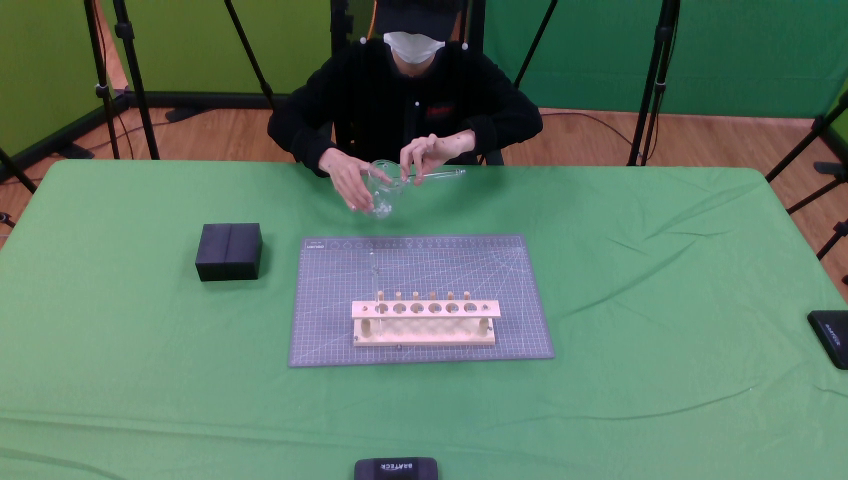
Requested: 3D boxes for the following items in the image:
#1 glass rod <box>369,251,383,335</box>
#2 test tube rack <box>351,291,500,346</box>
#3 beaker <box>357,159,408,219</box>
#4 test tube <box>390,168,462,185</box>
[{"bbox_3d":[-0.075,0.090,0.964,0.008,0.201,0.008,-1,44,1],"label":"glass rod"},{"bbox_3d":[0.000,0.129,1.026,0.242,0.085,0.066,0,46,-4],"label":"test tube rack"},{"bbox_3d":[-0.082,-0.093,1.165,0.084,0.100,0.073,15,50,-11],"label":"beaker"},{"bbox_3d":[0.001,-0.114,1.098,0.150,0.017,0.017,-4,39,32],"label":"test tube"}]
